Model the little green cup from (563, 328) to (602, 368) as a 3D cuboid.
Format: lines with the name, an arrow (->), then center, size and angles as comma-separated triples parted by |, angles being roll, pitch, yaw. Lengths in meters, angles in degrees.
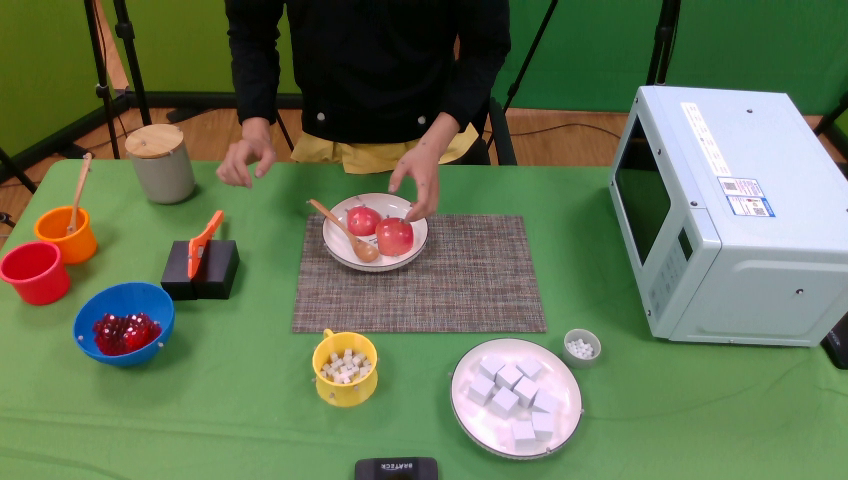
little green cup -> 0.266, 0.185, 1.025 | 0.061, 0.039, 0.061 | 2, 45, -2

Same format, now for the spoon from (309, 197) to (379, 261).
spoon -> -0.158, -0.025, 1.172 | 0.041, 0.022, 0.193 | -37, 71, -26

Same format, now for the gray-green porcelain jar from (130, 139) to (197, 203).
gray-green porcelain jar -> -0.522, -0.148, 1.225 | 0.106, 0.127, 0.105 | 2, 47, -2

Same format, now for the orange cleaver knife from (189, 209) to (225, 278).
orange cleaver knife -> -0.401, 0.002, 1.122 | 0.012, 0.077, 0.210 | 4, 23, -4

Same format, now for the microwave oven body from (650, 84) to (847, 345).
microwave oven body -> 0.569, -0.054, 1.116 | 0.326, 0.261, 0.439 | 2, 46, -1

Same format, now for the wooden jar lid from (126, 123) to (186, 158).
wooden jar lid -> -0.519, -0.190, 1.179 | 0.108, 0.021, 0.107 | 2, 44, -2

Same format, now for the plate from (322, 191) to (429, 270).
plate -> -0.094, -0.015, 1.185 | 0.209, 0.038, 0.208 | 2, 46, -2

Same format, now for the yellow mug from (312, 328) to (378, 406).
yellow mug -> -0.132, 0.193, 0.971 | 0.100, 0.064, 0.130 | -22, 51, -22

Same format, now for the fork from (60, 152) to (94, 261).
fork -> -0.638, -0.063, 1.119 | 0.028, 0.018, 0.207 | 12, 90, 8

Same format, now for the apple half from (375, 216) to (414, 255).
apple half -> -0.056, -0.016, 1.169 | 0.075, 0.053, 0.080 | 1, 46, -7

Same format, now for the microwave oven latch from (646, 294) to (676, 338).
microwave oven latch -> 0.413, 0.133, 1.061 | 0.030, 0.029, 0.078 | 4, 46, 1

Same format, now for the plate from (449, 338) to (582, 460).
plate -> 0.141, 0.251, 0.956 | 0.208, 0.039, 0.206 | 2, 46, -2

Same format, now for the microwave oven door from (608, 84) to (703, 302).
microwave oven door -> 0.424, -0.096, 1.138 | 0.039, 0.245, 0.353 | 3, 46, -1

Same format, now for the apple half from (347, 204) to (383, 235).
apple half -> -0.119, -0.049, 1.207 | 0.081, 0.033, 0.081 | 2, 50, -2

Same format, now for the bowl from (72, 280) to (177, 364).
bowl -> -0.473, 0.147, 0.982 | 0.151, 0.077, 0.150 | 2, 46, -2
